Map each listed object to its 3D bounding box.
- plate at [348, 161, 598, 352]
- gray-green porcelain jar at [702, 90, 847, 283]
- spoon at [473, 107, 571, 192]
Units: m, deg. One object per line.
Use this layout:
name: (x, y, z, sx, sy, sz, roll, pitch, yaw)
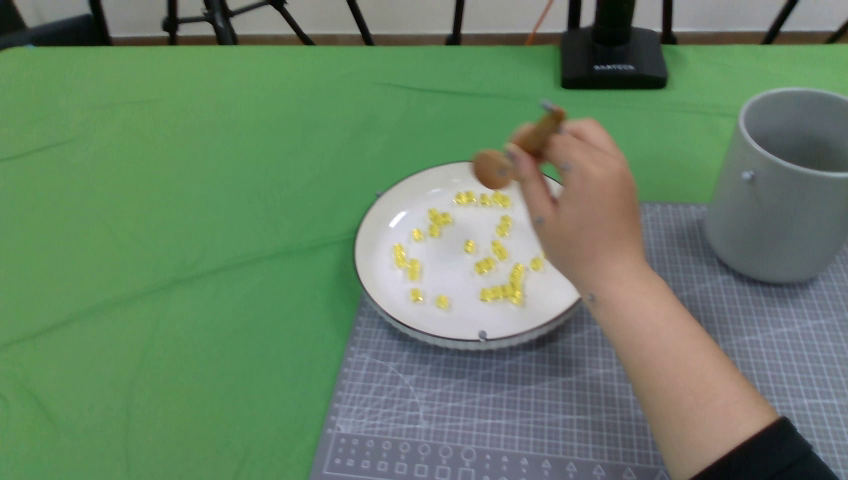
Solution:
plate: (0.041, 0.012, 0.522, 0.207, 0.039, 0.205, -3, 47, 3)
gray-green porcelain jar: (0.286, -0.036, 0.480, 0.106, 0.128, 0.105, -3, 47, 4)
spoon: (0.070, -0.062, 0.449, 0.041, 0.193, 0.021, 43, 84, -3)
